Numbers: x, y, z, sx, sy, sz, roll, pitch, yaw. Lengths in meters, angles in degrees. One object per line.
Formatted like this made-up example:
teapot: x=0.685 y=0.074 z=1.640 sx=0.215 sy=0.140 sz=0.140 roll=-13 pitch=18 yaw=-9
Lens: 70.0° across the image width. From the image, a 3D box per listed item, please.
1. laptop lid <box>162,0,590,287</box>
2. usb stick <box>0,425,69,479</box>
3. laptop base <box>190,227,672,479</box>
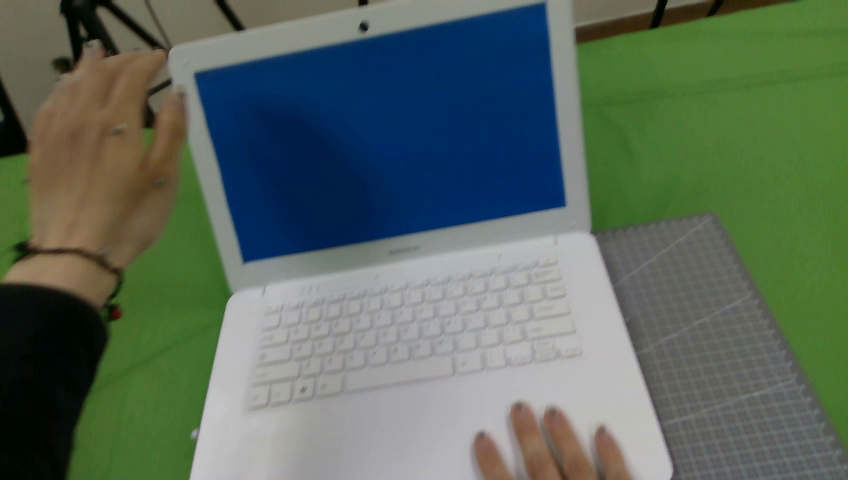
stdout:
laptop lid: x=-0.038 y=-0.088 z=0.549 sx=0.356 sy=0.243 sz=0.013 roll=-11 pitch=16 yaw=5
usb stick: x=-0.321 y=0.178 z=0.502 sx=0.021 sy=0.027 sz=0.059 roll=4 pitch=45 yaw=19
laptop base: x=-0.009 y=0.105 z=0.502 sx=0.354 sy=0.023 sz=0.233 roll=-10 pitch=49 yaw=4
